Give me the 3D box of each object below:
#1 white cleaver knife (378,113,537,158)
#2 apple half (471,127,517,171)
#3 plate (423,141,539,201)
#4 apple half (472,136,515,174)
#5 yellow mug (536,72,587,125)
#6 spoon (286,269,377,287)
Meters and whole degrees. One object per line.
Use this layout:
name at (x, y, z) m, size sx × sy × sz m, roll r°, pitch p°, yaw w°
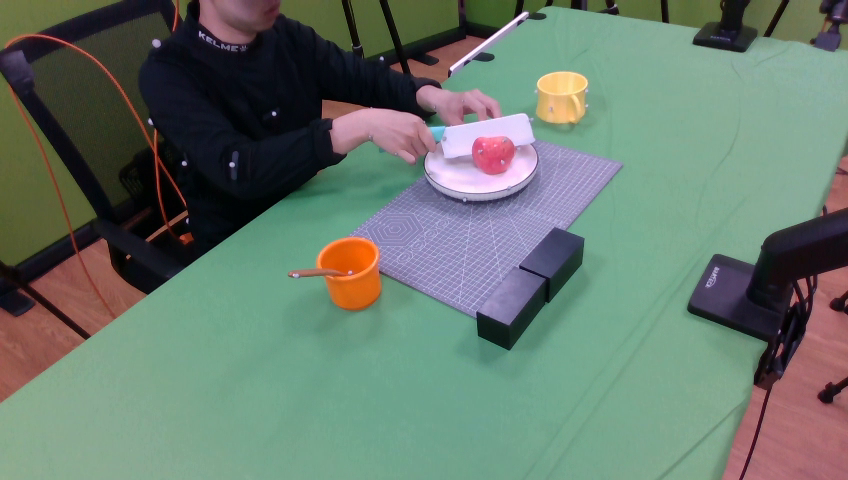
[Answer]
white cleaver knife at (0.052, -0.175, 1.067) m, size 0.285 × 0.066 × 0.021 m, roll -5°, pitch 31°, yaw 18°
apple half at (0.127, -0.168, 1.089) m, size 0.080 × 0.075 × 0.053 m, roll -3°, pitch 32°, yaw 12°
plate at (0.102, -0.132, 1.092) m, size 0.209 × 0.038 × 0.208 m, roll -4°, pitch 40°, yaw 4°
apple half at (0.122, -0.144, 1.060) m, size 0.081 × 0.081 × 0.032 m, roll 1°, pitch 37°, yaw 10°
yellow mug at (0.284, -0.281, 1.222) m, size 0.100 × 0.064 × 0.130 m, roll -16°, pitch 42°, yaw -9°
spoon at (-0.125, 0.050, 0.831) m, size 0.041 × 0.195 × 0.021 m, roll 21°, pitch 92°, yaw 28°
